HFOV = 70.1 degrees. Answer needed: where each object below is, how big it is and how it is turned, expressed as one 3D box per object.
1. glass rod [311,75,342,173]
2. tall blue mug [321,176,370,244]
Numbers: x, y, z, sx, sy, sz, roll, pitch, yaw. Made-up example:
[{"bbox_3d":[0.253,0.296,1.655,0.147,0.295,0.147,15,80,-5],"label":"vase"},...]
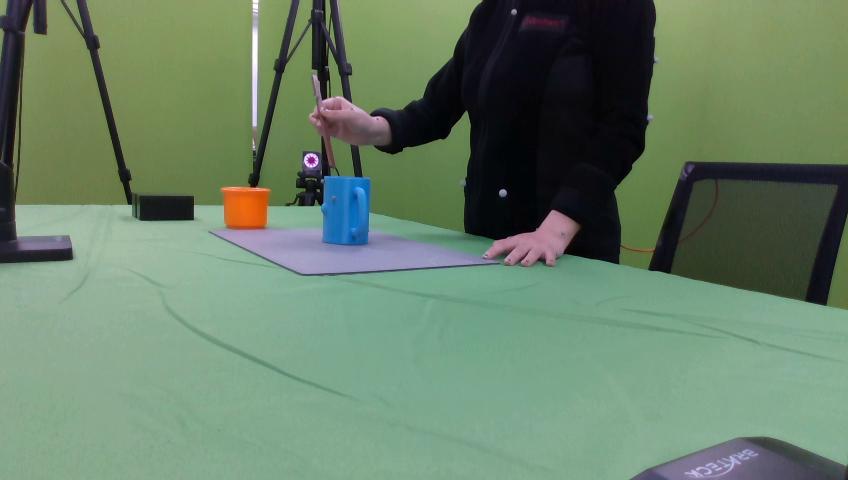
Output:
[{"bbox_3d":[-0.166,-0.198,1.021,0.008,0.199,0.008,-16,-20,-6],"label":"glass rod"},{"bbox_3d":[-0.116,-0.049,0.990,0.106,0.108,0.078,7,8,33],"label":"tall blue mug"}]
